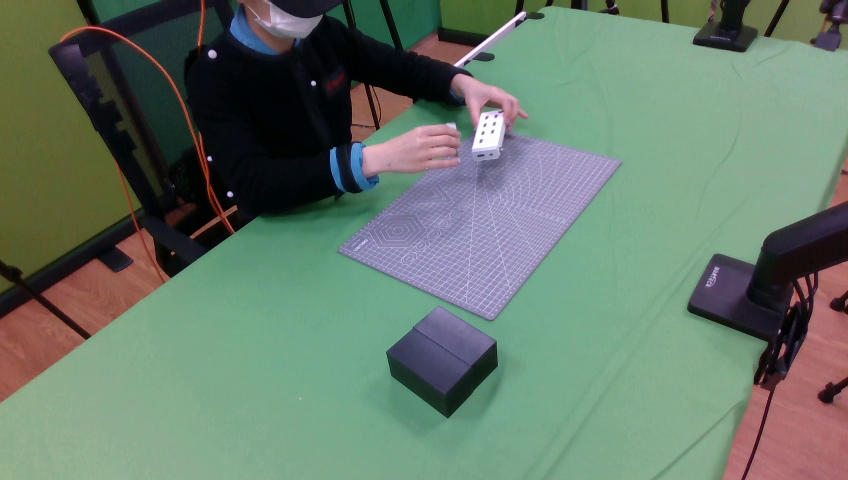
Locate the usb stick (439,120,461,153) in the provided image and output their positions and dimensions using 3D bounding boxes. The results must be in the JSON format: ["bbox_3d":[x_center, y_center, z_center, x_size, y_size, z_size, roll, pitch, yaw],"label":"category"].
[{"bbox_3d":[0.046,-0.172,1.033,0.021,0.059,0.027,15,46,39],"label":"usb stick"}]

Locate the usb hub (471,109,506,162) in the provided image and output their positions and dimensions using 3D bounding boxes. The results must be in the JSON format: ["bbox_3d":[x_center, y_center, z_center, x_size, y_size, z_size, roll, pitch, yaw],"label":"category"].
[{"bbox_3d":[0.120,-0.194,1.114,0.049,0.025,0.125,-5,45,22],"label":"usb hub"}]
